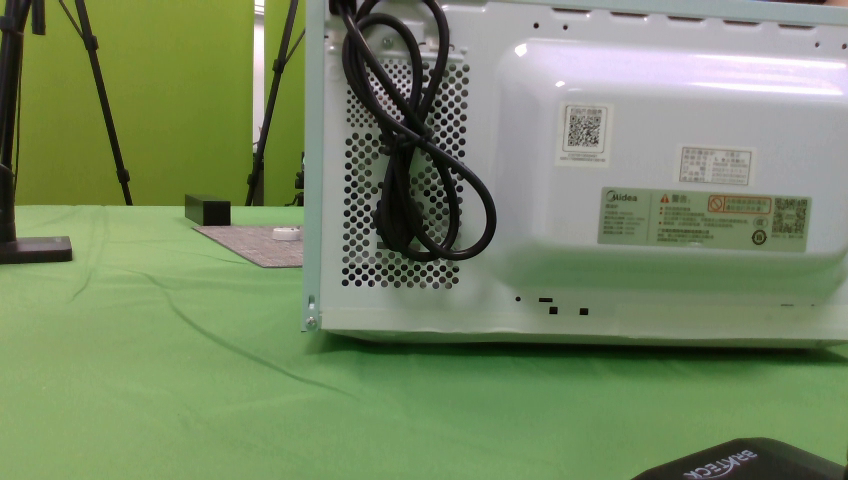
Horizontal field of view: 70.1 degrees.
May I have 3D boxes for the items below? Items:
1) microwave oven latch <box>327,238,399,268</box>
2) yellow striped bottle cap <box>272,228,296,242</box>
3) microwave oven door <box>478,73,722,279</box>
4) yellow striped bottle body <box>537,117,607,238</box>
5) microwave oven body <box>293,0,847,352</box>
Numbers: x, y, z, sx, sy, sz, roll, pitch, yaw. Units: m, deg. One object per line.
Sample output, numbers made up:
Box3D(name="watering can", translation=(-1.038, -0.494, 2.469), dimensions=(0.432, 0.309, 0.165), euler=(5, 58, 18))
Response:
Box3D(name="microwave oven latch", translation=(-0.069, 0.015, 0.694), dimensions=(0.079, 0.029, 0.030), euler=(3, 7, -3))
Box3D(name="yellow striped bottle cap", translation=(-0.232, -0.008, 1.012), dimensions=(0.044, 0.018, 0.044), euler=(4, 8, 0))
Box3D(name="microwave oven door", translation=(0.217, -0.094, 0.838), dimensions=(0.039, 0.243, 0.354), euler=(-4, 10, -40))
Box3D(name="yellow striped bottle body", translation=(0.155, -0.066, 0.629), dimensions=(0.063, 0.120, 0.063), euler=(4, 8, 0))
Box3D(name="microwave oven body", translation=(0.122, -0.055, 0.550), dimensions=(0.442, 0.260, 0.325), euler=(3, 7, -5))
